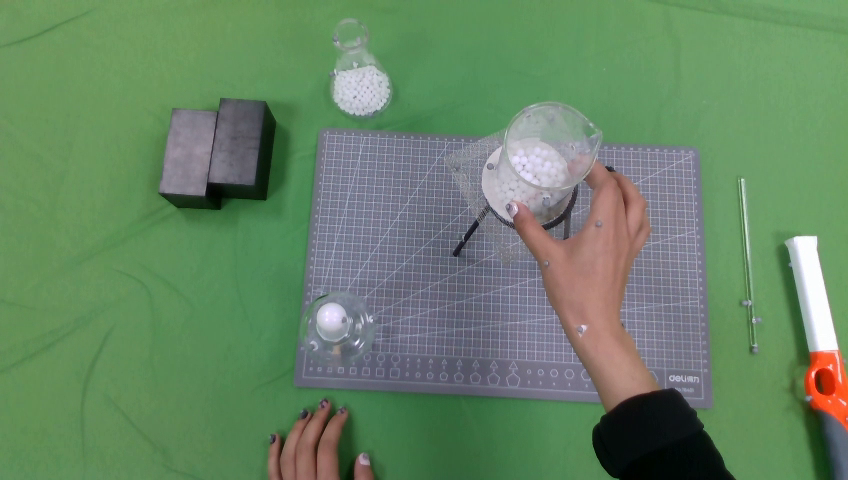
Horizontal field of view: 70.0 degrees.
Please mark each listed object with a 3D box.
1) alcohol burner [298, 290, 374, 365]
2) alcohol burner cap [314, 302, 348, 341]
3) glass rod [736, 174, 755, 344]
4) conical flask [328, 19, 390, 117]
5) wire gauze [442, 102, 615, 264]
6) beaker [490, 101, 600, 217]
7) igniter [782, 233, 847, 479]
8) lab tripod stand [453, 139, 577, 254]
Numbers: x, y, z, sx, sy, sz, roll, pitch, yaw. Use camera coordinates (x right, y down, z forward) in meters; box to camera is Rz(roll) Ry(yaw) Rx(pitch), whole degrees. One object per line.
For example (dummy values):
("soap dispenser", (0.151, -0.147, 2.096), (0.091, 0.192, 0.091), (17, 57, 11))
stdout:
("alcohol burner", (-0.090, 0.085, 0.609), (0.078, 0.119, 0.077), (1, 75, -2))
("alcohol burner cap", (-0.089, 0.074, 0.575), (0.034, 0.048, 0.033), (3, 69, -7))
("glass rod", (0.366, 0.019, 0.690), (0.008, 0.008, 0.198), (3, 77, 0))
("conical flask", (-0.077, -0.195, 0.675), (0.075, 0.122, 0.075), (0, 76, 0))
("wire gauze", (0.098, -0.054, 0.568), (0.125, 0.011, 0.121), (-26, 81, -7))
("beaker", (0.099, -0.065, 0.521), (0.084, 0.100, 0.073), (-17, 79, -5))
("igniter", (0.431, 0.128, 0.655), (0.057, 0.025, 0.275), (-1, 76, -12))
("lab tripod stand", (0.096, -0.035, 0.631), (0.148, 0.132, 0.147), (0, 78, 0))
